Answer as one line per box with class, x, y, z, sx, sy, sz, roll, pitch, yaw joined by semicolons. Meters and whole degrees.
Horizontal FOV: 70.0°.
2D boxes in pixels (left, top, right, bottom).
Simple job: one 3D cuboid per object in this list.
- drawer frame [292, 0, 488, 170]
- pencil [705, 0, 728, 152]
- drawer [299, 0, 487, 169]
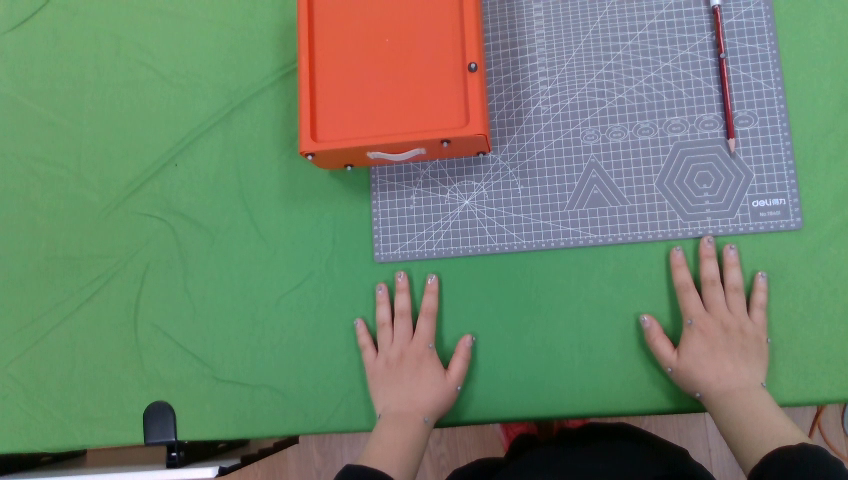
drawer frame;-0.038;-0.195;0.665;0.201;0.083;0.213;-5;81;10
pencil;0.311;-0.188;0.643;0.012;0.012;0.193;-4;85;9
drawer;-0.037;-0.193;0.665;0.194;0.073;0.211;-5;81;10
